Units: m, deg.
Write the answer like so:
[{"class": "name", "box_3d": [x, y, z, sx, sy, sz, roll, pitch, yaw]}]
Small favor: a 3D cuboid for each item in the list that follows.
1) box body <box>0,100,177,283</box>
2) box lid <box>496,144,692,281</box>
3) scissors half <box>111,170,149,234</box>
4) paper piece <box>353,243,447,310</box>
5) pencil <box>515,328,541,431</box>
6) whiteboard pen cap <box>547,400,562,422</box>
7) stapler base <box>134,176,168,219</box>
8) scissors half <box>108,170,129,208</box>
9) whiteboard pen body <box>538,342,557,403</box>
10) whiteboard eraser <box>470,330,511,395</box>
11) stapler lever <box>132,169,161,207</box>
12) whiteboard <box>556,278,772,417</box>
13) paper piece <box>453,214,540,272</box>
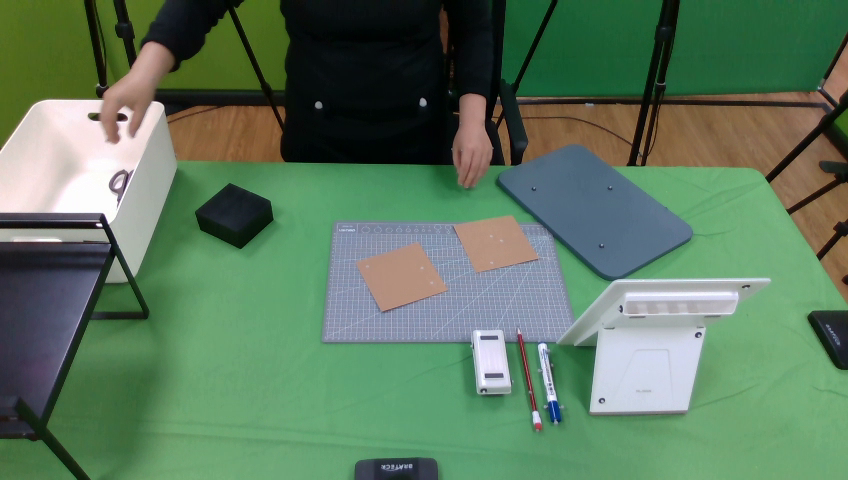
[{"class": "box body", "box_3d": [-0.639, -0.095, 1.140, 0.254, 0.161, 0.361, 1, 46, -4]}, {"class": "box lid", "box_3d": [0.360, -0.073, 1.305, 0.263, 0.015, 0.369, -24, 52, -25]}, {"class": "scissors half", "box_3d": [-0.596, -0.078, 1.224, 0.040, 0.013, 0.174, 7, 51, 1]}, {"class": "paper piece", "box_3d": [-0.046, 0.066, 1.137, 0.136, 0.009, 0.137, -13, 46, -23]}, {"class": "pencil", "box_3d": [0.169, 0.224, 1.002, 0.012, 0.012, 0.192, -2, 46, -6]}, {"class": "whiteboard pen cap", "box_3d": [0.205, 0.269, 0.956, 0.018, 0.018, 0.033, 0, 47, -5]}, {"class": "stapler base", "box_3d": [-0.558, -0.093, 1.234, 0.041, 0.024, 0.129, 1, 42, -8]}, {"class": "scissors half", "box_3d": [-0.617, -0.077, 1.222, 0.040, 0.013, 0.174, -14, 52, -9]}, {"class": "whiteboard pen body", "box_3d": [0.205, 0.228, 0.996, 0.017, 0.017, 0.140, 1, 46, -3]}, {"class": "whiteboard eraser", "box_3d": [0.110, 0.202, 0.998, 0.055, 0.042, 0.112, 1, 46, -5]}, {"class": "stapler lever", "box_3d": [-0.557, -0.113, 1.218, 0.027, 0.040, 0.117, 1, 42, -8]}, {"class": "whiteboard", "box_3d": [0.347, 0.174, 0.903, 0.217, 0.306, 0.143, 1, 65, -4]}, {"class": "paper piece", "box_3d": [0.142, 0.003, 1.213, 0.135, 0.004, 0.135, -11, 47, -14]}]
